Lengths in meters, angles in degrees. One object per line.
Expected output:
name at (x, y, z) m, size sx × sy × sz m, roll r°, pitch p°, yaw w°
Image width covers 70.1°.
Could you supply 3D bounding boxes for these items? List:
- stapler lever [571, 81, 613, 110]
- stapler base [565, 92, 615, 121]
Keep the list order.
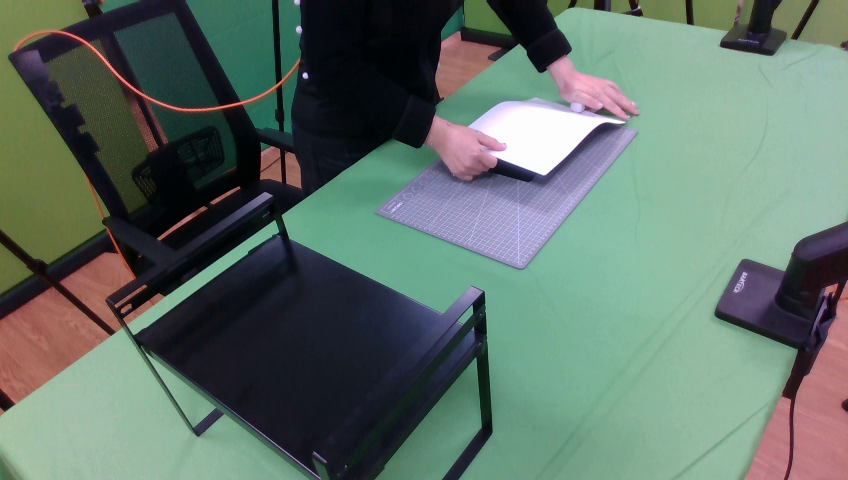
stapler lever at (0.346, -0.304, 1.241) m, size 0.118 × 0.040 × 0.026 m, roll -34°, pitch 52°, yaw -29°
stapler base at (0.347, -0.286, 1.256) m, size 0.131 × 0.024 × 0.041 m, roll -32°, pitch 52°, yaw -30°
